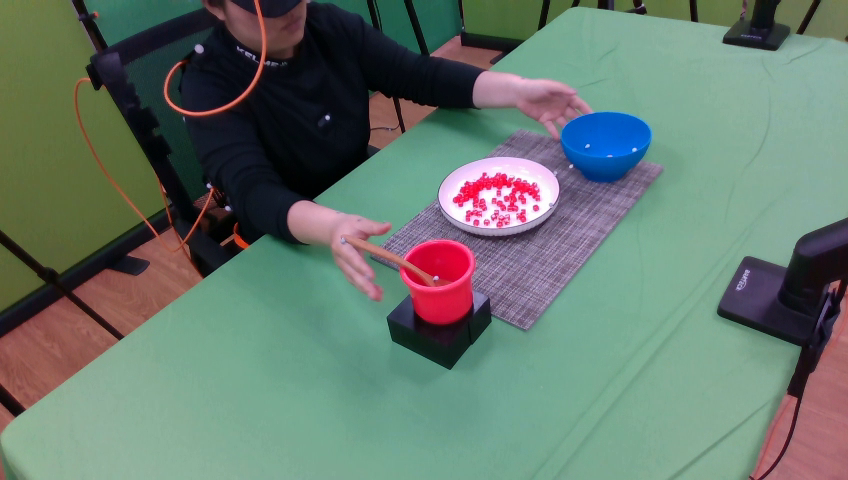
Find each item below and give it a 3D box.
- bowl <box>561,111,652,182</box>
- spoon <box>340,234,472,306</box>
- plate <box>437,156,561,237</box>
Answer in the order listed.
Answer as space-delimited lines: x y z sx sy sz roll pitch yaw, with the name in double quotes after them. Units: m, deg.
0.314 -0.153 1.054 0.151 0.077 0.150 -5 40 5 "bowl"
-0.020 0.036 0.770 0.195 0.021 0.041 31 37 -21 "spoon"
0.127 -0.070 1.023 0.207 0.039 0.206 -5 40 5 "plate"
